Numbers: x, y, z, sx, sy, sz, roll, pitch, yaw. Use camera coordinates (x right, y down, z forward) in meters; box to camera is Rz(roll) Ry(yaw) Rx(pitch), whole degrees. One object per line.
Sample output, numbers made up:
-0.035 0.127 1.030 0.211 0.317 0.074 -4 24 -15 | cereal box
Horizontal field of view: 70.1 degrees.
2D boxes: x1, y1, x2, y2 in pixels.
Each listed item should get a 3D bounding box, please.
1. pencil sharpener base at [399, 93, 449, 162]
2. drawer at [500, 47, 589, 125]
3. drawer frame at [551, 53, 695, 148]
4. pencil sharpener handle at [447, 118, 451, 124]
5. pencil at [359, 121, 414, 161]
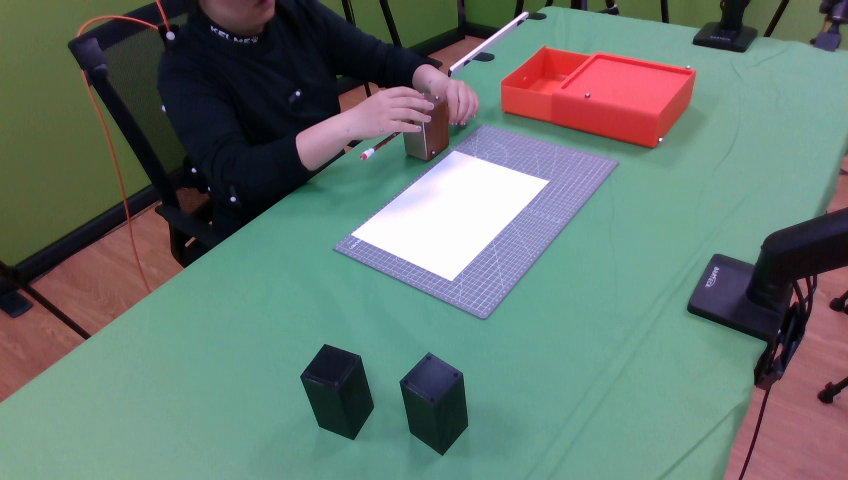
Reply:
0.003 -0.216 1.159 0.061 0.107 0.077 23 48 31 | pencil sharpener base
0.295 -0.316 1.255 0.210 0.073 0.195 22 47 29 | drawer
0.391 -0.281 1.196 0.212 0.083 0.202 22 48 29 | drawer frame
0.035 -0.253 1.179 0.035 0.068 0.031 16 44 37 | pencil sharpener handle
-0.050 -0.192 1.096 0.012 0.012 0.194 23 48 32 | pencil
